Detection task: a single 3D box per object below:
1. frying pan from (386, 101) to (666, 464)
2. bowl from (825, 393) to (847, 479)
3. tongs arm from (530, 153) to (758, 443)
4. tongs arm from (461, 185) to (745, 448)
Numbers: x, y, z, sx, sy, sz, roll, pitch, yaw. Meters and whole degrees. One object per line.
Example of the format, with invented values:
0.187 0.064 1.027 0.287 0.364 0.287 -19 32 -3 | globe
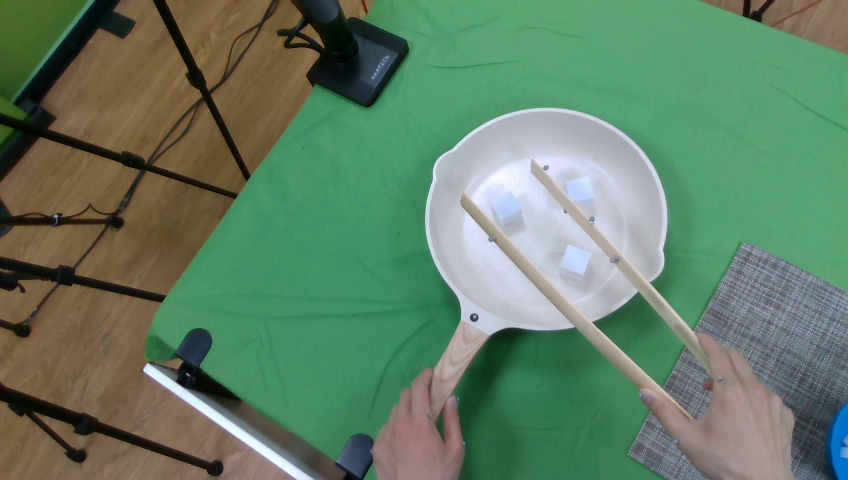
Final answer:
0.093 0.049 0.737 0.305 0.103 0.486 29 71 18 | frying pan
0.487 0.218 0.627 0.151 0.077 0.150 -3 72 9 | bowl
0.211 0.040 0.652 0.051 0.027 0.381 -25 58 -18 | tongs arm
0.162 0.065 0.635 0.028 0.028 0.383 -29 58 -24 | tongs arm
